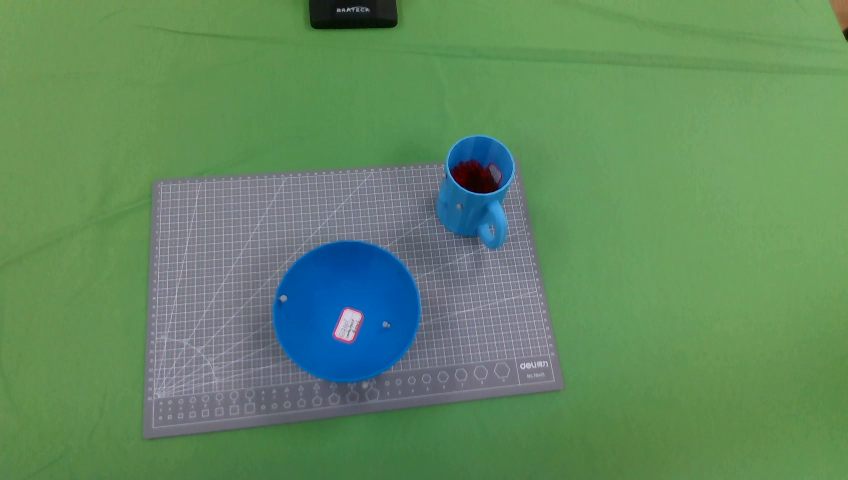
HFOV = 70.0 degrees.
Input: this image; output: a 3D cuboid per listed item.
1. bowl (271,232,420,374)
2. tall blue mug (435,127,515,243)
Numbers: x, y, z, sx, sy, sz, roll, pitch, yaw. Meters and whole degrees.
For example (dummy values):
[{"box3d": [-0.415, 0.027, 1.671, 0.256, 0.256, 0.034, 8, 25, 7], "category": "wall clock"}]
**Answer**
[{"box3d": [-0.082, 0.075, 0.649, 0.151, 0.077, 0.150, 2, 69, -5], "category": "bowl"}, {"box3d": [0.068, -0.059, 0.699, 0.107, 0.108, 0.077, 39, 69, 10], "category": "tall blue mug"}]
